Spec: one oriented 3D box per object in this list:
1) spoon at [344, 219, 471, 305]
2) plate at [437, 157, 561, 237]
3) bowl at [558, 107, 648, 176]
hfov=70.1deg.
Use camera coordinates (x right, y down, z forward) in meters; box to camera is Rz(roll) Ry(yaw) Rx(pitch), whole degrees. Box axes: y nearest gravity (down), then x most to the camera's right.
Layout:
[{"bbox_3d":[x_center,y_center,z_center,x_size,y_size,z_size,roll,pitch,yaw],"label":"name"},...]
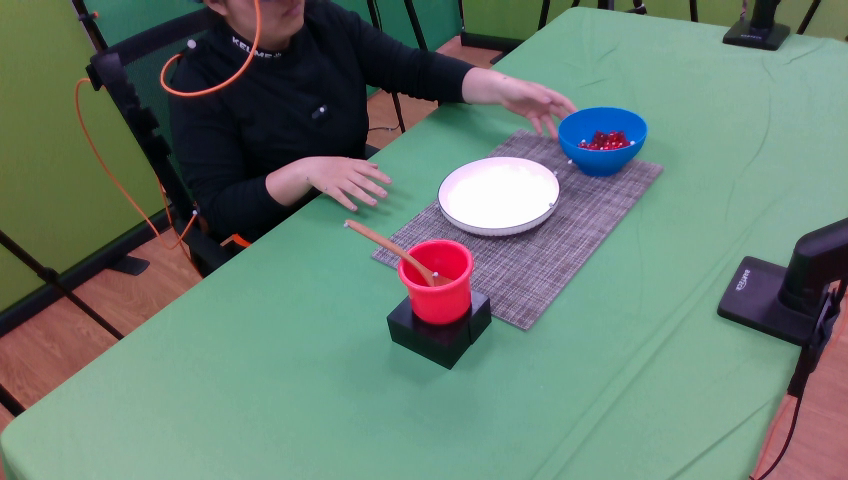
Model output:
[{"bbox_3d":[-0.020,0.026,0.781,0.194,0.021,0.041,37,43,-14],"label":"spoon"},{"bbox_3d":[0.127,-0.070,1.023,0.207,0.039,0.206,-5,40,5],"label":"plate"},{"bbox_3d":[0.313,-0.165,1.069,0.151,0.077,0.150,-5,40,5],"label":"bowl"}]
